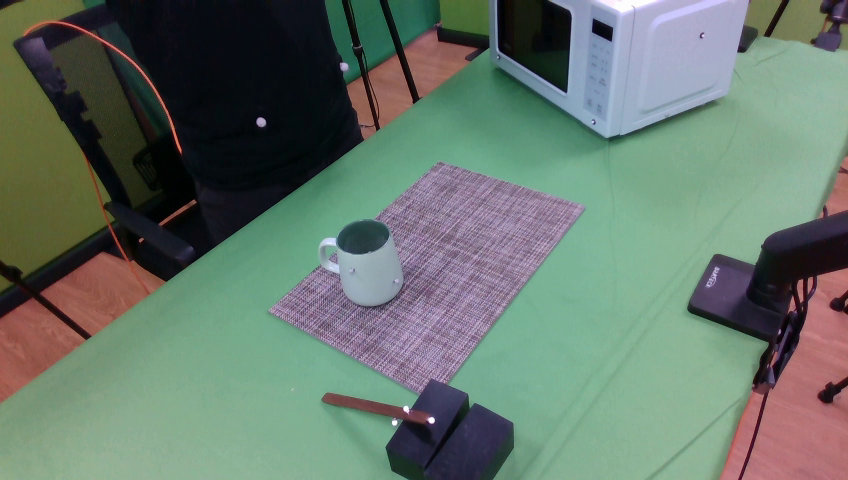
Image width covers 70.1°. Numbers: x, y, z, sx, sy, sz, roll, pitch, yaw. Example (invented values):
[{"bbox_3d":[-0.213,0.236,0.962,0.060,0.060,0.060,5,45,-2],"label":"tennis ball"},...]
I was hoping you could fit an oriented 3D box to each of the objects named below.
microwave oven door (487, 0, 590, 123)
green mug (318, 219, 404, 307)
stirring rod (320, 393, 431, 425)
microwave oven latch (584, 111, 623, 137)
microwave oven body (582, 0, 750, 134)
[{"bbox_3d":[0.232,-0.420,1.231,0.039,0.245,0.352,-22,43,-16],"label":"microwave oven door"},{"bbox_3d":[-0.096,0.032,0.876,0.125,0.105,0.092,8,43,17],"label":"green mug"},{"bbox_3d":[-0.061,0.198,0.712,0.175,0.006,0.014,-2,37,39],"label":"stirring rod"},{"bbox_3d":[0.337,-0.222,1.142,0.030,0.029,0.078,-21,42,-14],"label":"microwave oven latch"},{"bbox_3d":[0.382,-0.444,1.246,0.327,0.261,0.437,-22,42,-16],"label":"microwave oven body"}]
